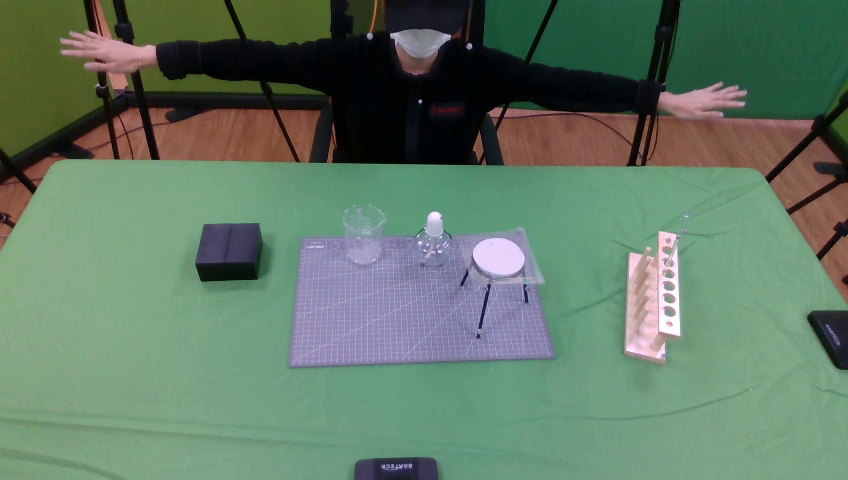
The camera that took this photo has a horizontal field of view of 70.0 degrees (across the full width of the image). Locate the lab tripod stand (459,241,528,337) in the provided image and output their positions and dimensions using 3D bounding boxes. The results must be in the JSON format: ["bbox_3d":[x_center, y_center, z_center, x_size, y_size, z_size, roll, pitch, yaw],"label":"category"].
[{"bbox_3d":[0.122,0.075,1.054,0.148,0.132,0.147,3,44,-3],"label":"lab tripod stand"}]

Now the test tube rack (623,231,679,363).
[{"bbox_3d":[0.410,0.094,1.096,0.066,0.085,0.241,13,46,9],"label":"test tube rack"}]

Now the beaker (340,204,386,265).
[{"bbox_3d":[-0.114,-0.008,1.140,0.084,0.101,0.073,-3,47,-8],"label":"beaker"}]

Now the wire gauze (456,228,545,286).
[{"bbox_3d":[0.126,0.029,1.006,0.125,0.011,0.120,-4,46,-10],"label":"wire gauze"}]

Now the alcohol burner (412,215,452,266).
[{"bbox_3d":[0.017,-0.006,1.139,0.078,0.119,0.077,2,48,-2],"label":"alcohol burner"}]

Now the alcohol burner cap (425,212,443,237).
[{"bbox_3d":[0.019,-0.032,1.114,0.034,0.048,0.033,0,48,0],"label":"alcohol burner cap"}]

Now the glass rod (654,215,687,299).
[{"bbox_3d":[0.431,0.034,1.063,0.008,0.201,0.008,0,42,0],"label":"glass rod"}]
